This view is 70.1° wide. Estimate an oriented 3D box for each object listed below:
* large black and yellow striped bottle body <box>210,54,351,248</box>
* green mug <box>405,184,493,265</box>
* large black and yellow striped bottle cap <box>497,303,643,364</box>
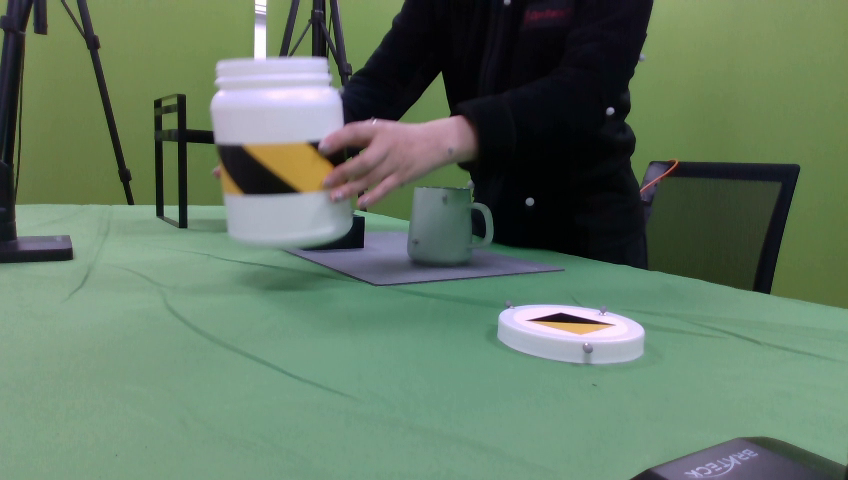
[{"bbox_3d":[-0.147,-0.094,0.628,0.131,0.184,0.130,-3,15,1],"label":"large black and yellow striped bottle body"},{"bbox_3d":[0.036,-0.021,0.826,0.125,0.105,0.093,6,7,30],"label":"green mug"},{"bbox_3d":[0.116,0.072,0.486,0.115,0.019,0.115,1,8,0],"label":"large black and yellow striped bottle cap"}]
